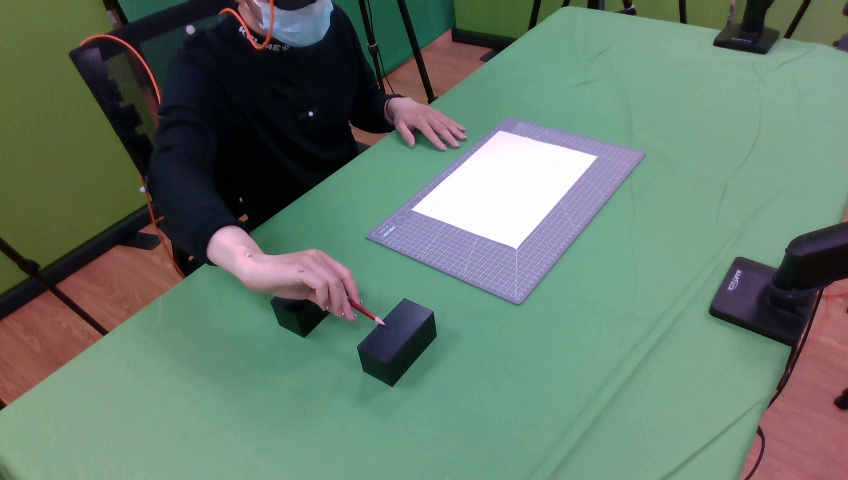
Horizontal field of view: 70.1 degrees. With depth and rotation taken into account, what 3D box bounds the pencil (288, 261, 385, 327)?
[{"bbox_3d":[-0.123,0.074,0.835,0.192,0.012,0.012,28,52,30],"label":"pencil"}]
